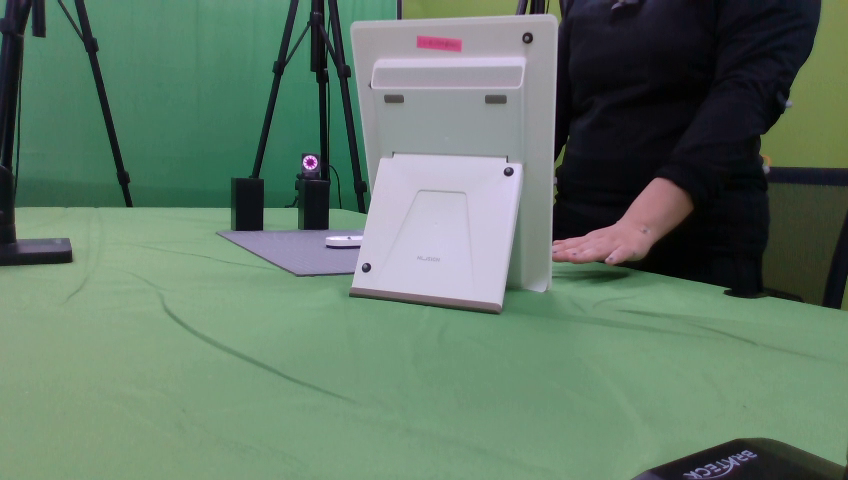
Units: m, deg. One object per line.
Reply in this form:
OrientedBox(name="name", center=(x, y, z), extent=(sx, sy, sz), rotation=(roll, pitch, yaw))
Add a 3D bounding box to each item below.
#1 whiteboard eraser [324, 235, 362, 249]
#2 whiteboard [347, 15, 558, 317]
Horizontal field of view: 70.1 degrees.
OrientedBox(name="whiteboard eraser", center=(-0.112, 0.002, 0.974), extent=(0.102, 0.019, 0.041), rotation=(-1, 7, -32))
OrientedBox(name="whiteboard", center=(0.012, -0.056, 0.609), extent=(0.216, 0.305, 0.144), rotation=(5, 27, 19))
